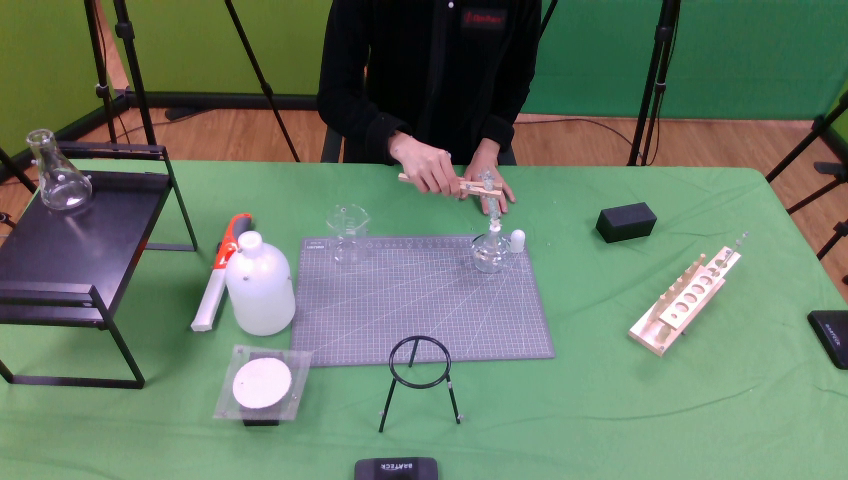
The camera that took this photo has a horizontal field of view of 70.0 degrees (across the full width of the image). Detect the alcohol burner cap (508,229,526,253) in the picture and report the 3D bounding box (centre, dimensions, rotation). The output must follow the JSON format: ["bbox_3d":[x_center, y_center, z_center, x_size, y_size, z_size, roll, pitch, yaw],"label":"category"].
[{"bbox_3d":[0.185,-0.002,1.191,0.034,0.048,0.033,3,44,-2],"label":"alcohol burner cap"}]

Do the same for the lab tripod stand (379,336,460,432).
[{"bbox_3d":[-0.010,0.214,0.911,0.148,0.132,0.147,1,45,0],"label":"lab tripod stand"}]

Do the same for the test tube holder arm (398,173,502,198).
[{"bbox_3d":[0.042,-0.093,1.017,0.178,0.015,0.013,10,61,11],"label":"test tube holder arm"}]

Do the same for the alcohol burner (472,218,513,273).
[{"bbox_3d":[0.128,0.005,1.132,0.078,0.120,0.077,0,47,0],"label":"alcohol burner"}]

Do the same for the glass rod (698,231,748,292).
[{"bbox_3d":[0.514,0.044,1.051,0.008,0.200,0.008,1,55,-1],"label":"glass rod"}]

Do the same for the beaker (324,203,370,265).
[{"bbox_3d":[-0.142,-0.009,1.137,0.084,0.101,0.073,-3,47,-7],"label":"beaker"}]

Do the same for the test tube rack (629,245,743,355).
[{"bbox_3d":[0.474,0.095,1.091,0.242,0.085,0.066,-34,56,-31],"label":"test tube rack"}]

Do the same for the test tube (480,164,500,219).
[{"bbox_3d":[0.112,-0.079,1.018,0.017,0.151,0.017,-6,60,11],"label":"test tube"}]

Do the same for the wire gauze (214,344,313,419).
[{"bbox_3d":[-0.241,0.213,0.915,0.121,0.011,0.124,5,46,1],"label":"wire gauze"}]

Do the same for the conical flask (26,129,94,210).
[{"bbox_3d":[-0.575,-0.113,0.946,0.075,0.122,0.075,2,46,-2],"label":"conical flask"}]

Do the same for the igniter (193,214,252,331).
[{"bbox_3d":[-0.368,0.050,1.119,0.057,0.025,0.275,-3,46,7],"label":"igniter"}]

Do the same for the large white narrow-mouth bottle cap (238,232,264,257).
[{"bbox_3d":[-0.266,0.007,0.933,0.038,0.024,0.037,2,46,-2],"label":"large white narrow-mouth bottle cap"}]

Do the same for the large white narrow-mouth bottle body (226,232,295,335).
[{"bbox_3d":[-0.270,0.065,0.995,0.102,0.195,0.101,2,46,-2],"label":"large white narrow-mouth bottle body"}]

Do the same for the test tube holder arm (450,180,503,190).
[{"bbox_3d":[0.087,-0.092,1.012,0.088,0.015,0.010,3,60,8],"label":"test tube holder arm"}]
